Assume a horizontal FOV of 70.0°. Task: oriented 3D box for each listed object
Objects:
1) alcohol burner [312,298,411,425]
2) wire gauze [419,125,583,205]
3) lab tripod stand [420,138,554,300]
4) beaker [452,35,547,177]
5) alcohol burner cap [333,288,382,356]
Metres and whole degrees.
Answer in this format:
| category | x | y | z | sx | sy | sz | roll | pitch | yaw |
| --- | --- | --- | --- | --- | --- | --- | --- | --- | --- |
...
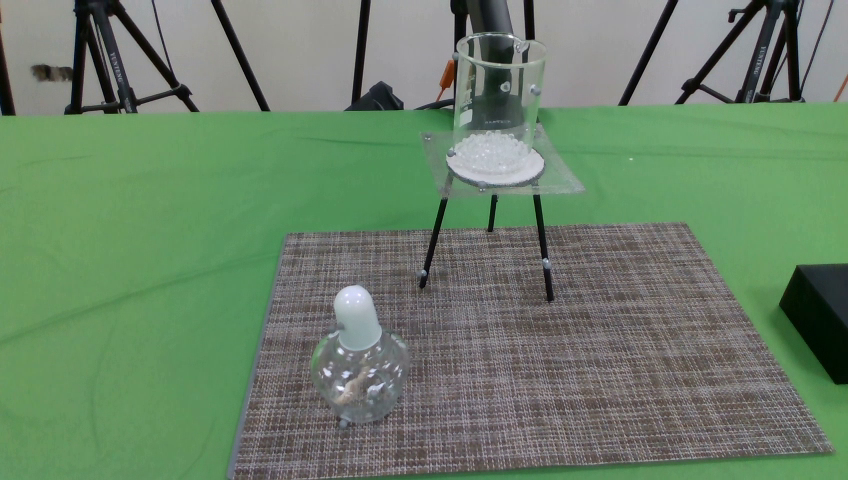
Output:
| category | x | y | z | sx | sy | sz | roll | pitch | yaw |
| --- | --- | --- | --- | --- | --- | --- | --- | --- | --- |
| alcohol burner | -0.048 | 0.085 | 0.460 | 0.078 | 0.120 | 0.077 | 1 | 39 | 0 |
| wire gauze | 0.064 | -0.069 | 0.537 | 0.125 | 0.011 | 0.120 | -2 | 39 | -9 |
| lab tripod stand | 0.068 | -0.019 | 0.581 | 0.148 | 0.132 | 0.147 | 1 | 37 | -1 |
| beaker | 0.062 | -0.113 | 0.514 | 0.073 | 0.101 | 0.084 | 21 | 41 | 23 |
| alcohol burner cap | -0.050 | 0.056 | 0.438 | 0.034 | 0.048 | 0.033 | -5 | 35 | 4 |
